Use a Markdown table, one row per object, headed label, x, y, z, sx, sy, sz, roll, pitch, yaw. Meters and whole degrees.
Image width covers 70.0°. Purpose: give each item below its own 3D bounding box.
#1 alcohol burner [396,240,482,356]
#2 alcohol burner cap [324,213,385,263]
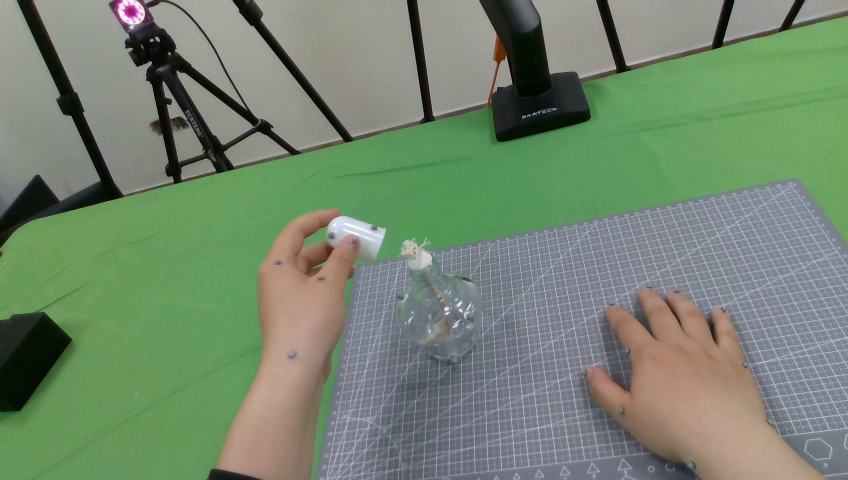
| label | x | y | z | sx | sy | sz | roll | pitch | yaw |
| --- | --- | --- | --- | --- | --- | --- | --- | --- | --- |
| alcohol burner | 0.009 | 0.044 | 0.517 | 0.078 | 0.120 | 0.077 | -11 | 41 | 10 |
| alcohol burner cap | -0.057 | -0.005 | 0.488 | 0.048 | 0.034 | 0.033 | 21 | 42 | -10 |
